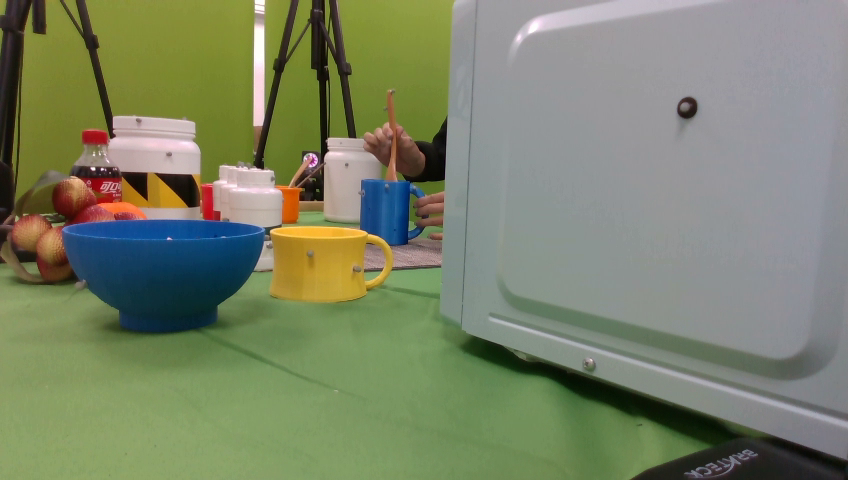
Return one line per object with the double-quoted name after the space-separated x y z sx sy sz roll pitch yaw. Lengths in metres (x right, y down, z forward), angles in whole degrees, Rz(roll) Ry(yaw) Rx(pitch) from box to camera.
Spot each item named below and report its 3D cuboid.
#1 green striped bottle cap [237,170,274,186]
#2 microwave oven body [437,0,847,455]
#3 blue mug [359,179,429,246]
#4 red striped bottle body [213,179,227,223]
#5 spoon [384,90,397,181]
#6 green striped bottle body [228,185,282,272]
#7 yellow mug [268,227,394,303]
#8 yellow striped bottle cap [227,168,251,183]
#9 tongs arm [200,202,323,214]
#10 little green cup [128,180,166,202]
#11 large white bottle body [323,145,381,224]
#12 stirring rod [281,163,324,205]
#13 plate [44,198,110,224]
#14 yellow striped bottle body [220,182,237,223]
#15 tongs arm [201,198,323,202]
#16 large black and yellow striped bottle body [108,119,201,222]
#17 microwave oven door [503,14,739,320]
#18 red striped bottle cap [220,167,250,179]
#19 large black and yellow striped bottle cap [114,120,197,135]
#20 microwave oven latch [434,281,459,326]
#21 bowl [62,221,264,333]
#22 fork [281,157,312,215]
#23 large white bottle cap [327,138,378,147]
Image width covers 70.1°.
-0.205 -0.075 0.737 0.044 0.020 0.044 1 5 0 "green striped bottle cap"
0.279 -0.040 0.464 0.444 0.260 0.324 -3 9 -41 "microwave oven body"
-0.050 -0.047 1.009 0.116 0.106 0.082 3 8 3 "blue mug"
-0.284 -0.048 0.909 0.063 0.119 0.063 3 10 0 "red striped bottle body"
-0.055 -0.152 1.007 0.022 0.193 0.041 2 -3 -38 "spoon"
-0.208 -0.023 0.745 0.063 0.119 0.063 2 7 0 "green striped bottle body"
-0.094 0.023 0.629 0.131 0.064 0.099 0 6 -22 "yellow mug"
-0.243 -0.087 0.818 0.044 0.018 0.044 3 6 0 "yellow striped bottle cap"
-0.378 -0.079 1.440 0.387 0.026 0.050 -4 8 -44 "tongs arm"
-0.485 -0.087 1.062 0.061 0.038 0.061 0 6 0 "little green cup"
-0.163 -0.134 1.369 0.131 0.184 0.130 2 8 0 "large white bottle body"
-0.278 -0.105 1.293 0.176 0.006 0.014 -47 24 -18 "stirring rod"
-0.617 -0.056 1.179 0.209 0.038 0.209 3 7 0 "plate"
-0.246 -0.036 0.825 0.063 0.120 0.063 3 8 0 "yellow striped bottle body"
-0.432 -0.090 1.507 0.390 0.028 0.028 -1 2 -30 "tongs arm"
-0.412 -0.088 0.930 0.131 0.184 0.130 3 7 0 "large black and yellow striped bottle body"
0.217 -0.065 0.600 0.358 0.243 0.039 -4 10 -41 "microwave oven door"
-0.281 -0.100 0.901 0.044 0.017 0.044 -1 5 0 "red striped bottle cap"
-0.407 -0.171 0.920 0.115 0.019 0.115 2 9 0 "large black and yellow striped bottle cap"
0.044 0.045 0.470 0.079 0.029 0.030 -3 8 -40 "microwave oven latch"
-0.209 0.029 0.496 0.151 0.077 0.151 2 7 0 "bowl"
-0.290 -0.116 1.321 0.028 0.019 0.207 6 52 19 "fork"
-0.160 -0.218 1.357 0.115 0.018 0.115 2 8 0 "large white bottle cap"
